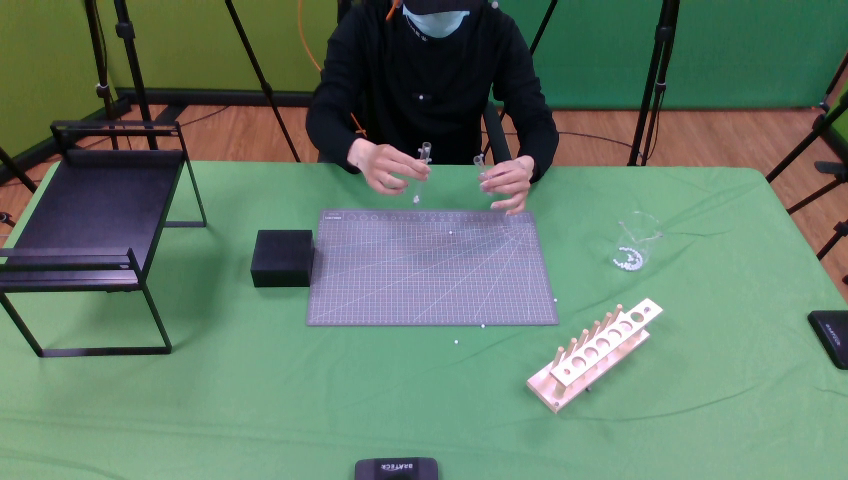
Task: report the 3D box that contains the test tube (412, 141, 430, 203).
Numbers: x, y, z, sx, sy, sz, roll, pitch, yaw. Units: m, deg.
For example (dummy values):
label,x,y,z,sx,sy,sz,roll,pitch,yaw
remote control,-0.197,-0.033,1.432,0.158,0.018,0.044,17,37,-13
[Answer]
label,x,y,z,sx,sy,sz,roll,pitch,yaw
test tube,-0.007,-0.124,1.133,0.017,0.151,0.017,5,49,-6

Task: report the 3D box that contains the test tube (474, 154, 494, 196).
label,x,y,z,sx,sy,sz,roll,pitch,yaw
test tube,0.116,-0.122,1.164,0.017,0.151,0.017,-6,67,14

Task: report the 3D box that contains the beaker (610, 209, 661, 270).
label,x,y,z,sx,sy,sz,roll,pitch,yaw
beaker,0.404,0.005,1.170,0.074,0.101,0.083,19,49,15

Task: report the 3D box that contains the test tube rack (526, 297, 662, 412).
label,x,y,z,sx,sy,sz,roll,pitch,yaw
test tube rack,0.284,0.176,1.007,0.242,0.085,0.066,-29,54,-27
